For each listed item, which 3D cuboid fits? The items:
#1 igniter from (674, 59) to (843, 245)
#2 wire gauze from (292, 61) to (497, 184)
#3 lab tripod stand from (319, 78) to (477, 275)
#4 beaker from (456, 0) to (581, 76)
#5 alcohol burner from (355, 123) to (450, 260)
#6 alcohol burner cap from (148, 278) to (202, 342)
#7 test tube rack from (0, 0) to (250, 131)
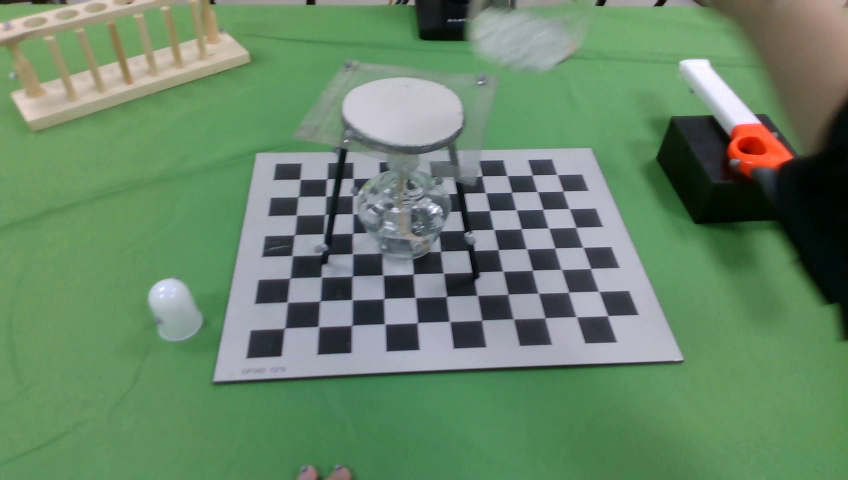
[{"bbox_3d":[0.296,-0.094,0.555,0.057,0.025,0.273,-4,44,-3],"label":"igniter"},{"bbox_3d":[-0.015,-0.092,0.427,0.125,0.011,0.120,12,46,6],"label":"wire gauze"},{"bbox_3d":[-0.014,-0.047,0.478,0.148,0.132,0.147,3,45,-3],"label":"lab tripod stand"},{"bbox_3d":[0.060,-0.154,0.355,0.074,0.101,0.083,12,43,2],"label":"beaker"},{"bbox_3d":[-0.018,-0.041,0.486,0.078,0.120,0.077,0,47,0],"label":"alcohol burner"},{"bbox_3d":[-0.185,0.049,0.445,0.034,0.048,0.033,2,46,-2],"label":"alcohol burner cap"},{"bbox_3d":[-0.320,-0.209,0.655,0.242,0.086,0.066,-28,54,-27],"label":"test tube rack"}]
